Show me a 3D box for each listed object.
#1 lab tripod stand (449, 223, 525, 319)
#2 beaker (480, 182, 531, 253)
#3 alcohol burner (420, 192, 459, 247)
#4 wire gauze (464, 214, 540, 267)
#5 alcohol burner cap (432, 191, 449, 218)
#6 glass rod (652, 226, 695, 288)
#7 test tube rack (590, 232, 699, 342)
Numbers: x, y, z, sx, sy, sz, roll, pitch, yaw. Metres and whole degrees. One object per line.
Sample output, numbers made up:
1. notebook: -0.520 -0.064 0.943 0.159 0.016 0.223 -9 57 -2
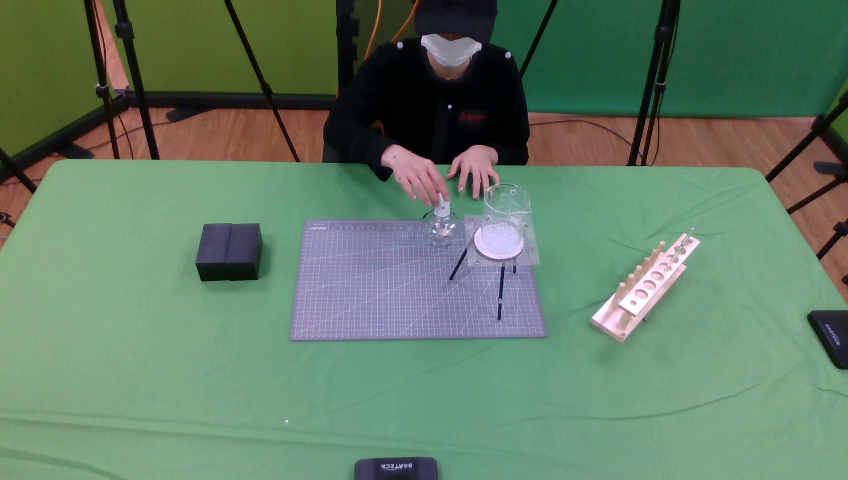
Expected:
1. lab tripod stand: 0.120 0.046 1.080 0.148 0.132 0.147 1 47 -1
2. beaker: 0.133 -0.033 0.998 0.083 0.101 0.074 26 51 22
3. alcohol burner: 0.032 -0.045 1.176 0.078 0.120 0.077 1 44 -1
4. wire gauze: 0.131 -0.001 1.035 0.121 0.011 0.124 1 44 -3
5. alcohol burner cap: 0.033 -0.070 1.150 0.034 0.048 0.033 2 44 -1
6. glass rod: 0.432 0.037 1.057 0.008 0.200 0.008 1 54 -1
7. test tube rack: 0.407 0.074 1.112 0.066 0.085 0.242 35 53 26
